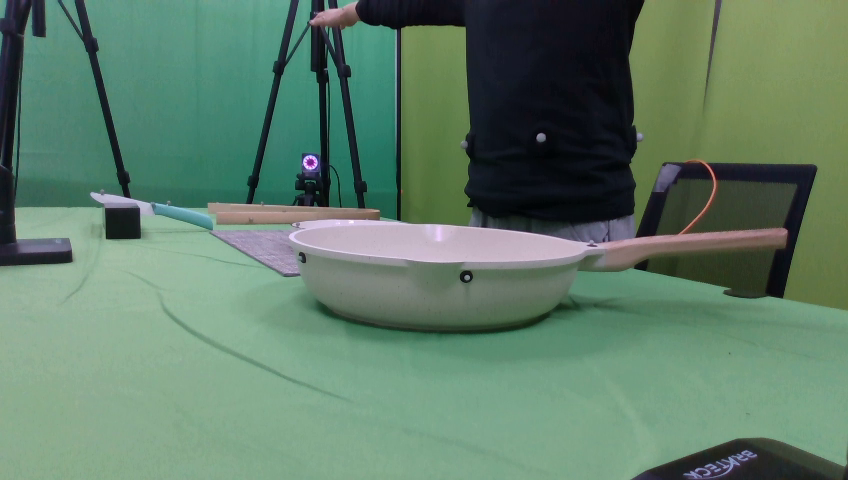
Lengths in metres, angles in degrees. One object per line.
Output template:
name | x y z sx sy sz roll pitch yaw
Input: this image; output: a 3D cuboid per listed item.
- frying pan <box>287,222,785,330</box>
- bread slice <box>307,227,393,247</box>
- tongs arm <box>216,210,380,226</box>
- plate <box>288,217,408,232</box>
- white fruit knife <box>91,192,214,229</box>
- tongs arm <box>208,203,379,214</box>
frying pan | 0.114 0.016 0.607 0.488 0.102 0.307 -6 8 3
bread slice | -0.115 -0.005 0.950 0.134 0.018 0.107 3 6 -7
tongs arm | -0.262 -0.050 1.336 0.390 0.028 0.028 -3 9 -34
plate | -0.109 -0.007 0.956 0.208 0.039 0.207 2 7 0
white fruit knife | -0.478 -0.055 1.078 0.208 0.027 0.016 14 1 -30
tongs arm | -0.296 -0.067 1.406 0.386 0.026 0.050 0 11 -22
